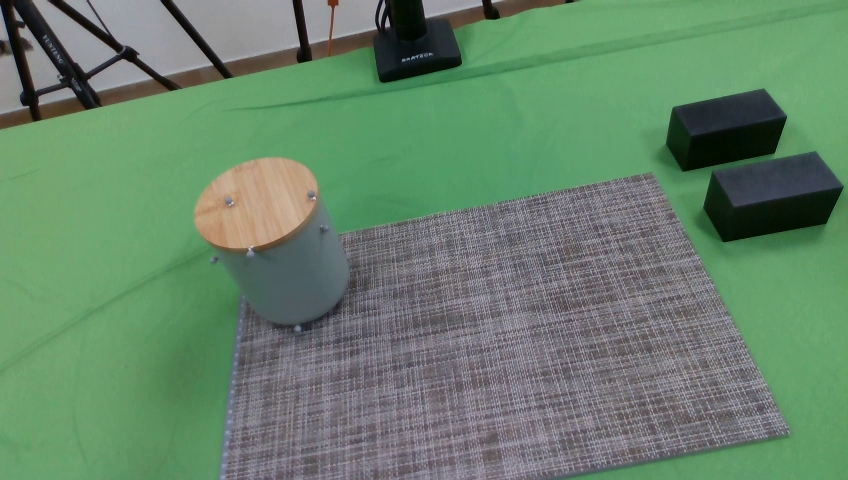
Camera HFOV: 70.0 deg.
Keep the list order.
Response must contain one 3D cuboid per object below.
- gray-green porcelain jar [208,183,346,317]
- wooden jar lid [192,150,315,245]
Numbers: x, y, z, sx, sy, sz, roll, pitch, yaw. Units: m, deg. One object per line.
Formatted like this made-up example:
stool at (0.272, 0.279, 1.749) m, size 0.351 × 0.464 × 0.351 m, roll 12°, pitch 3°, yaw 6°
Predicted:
gray-green porcelain jar at (-0.136, 0.004, 0.578) m, size 0.106 × 0.128 × 0.105 m, roll -6°, pitch 50°, yaw 7°
wooden jar lid at (-0.147, -0.036, 0.531) m, size 0.108 × 0.021 × 0.107 m, roll -3°, pitch 52°, yaw 5°
